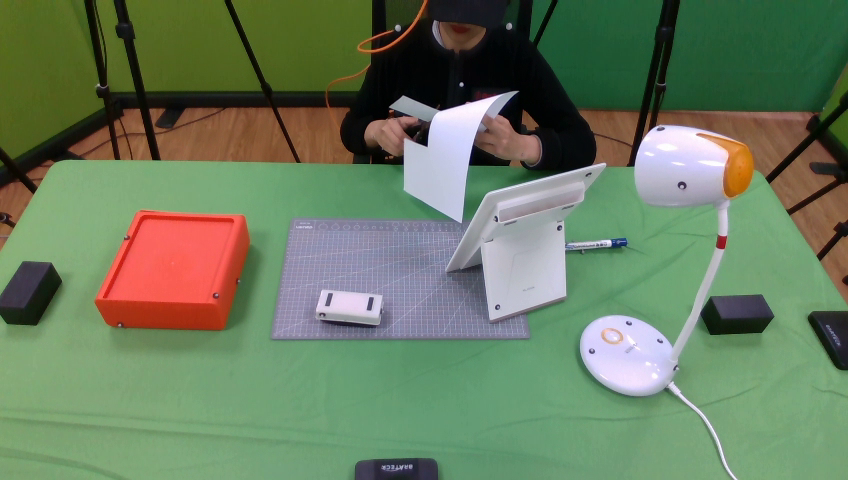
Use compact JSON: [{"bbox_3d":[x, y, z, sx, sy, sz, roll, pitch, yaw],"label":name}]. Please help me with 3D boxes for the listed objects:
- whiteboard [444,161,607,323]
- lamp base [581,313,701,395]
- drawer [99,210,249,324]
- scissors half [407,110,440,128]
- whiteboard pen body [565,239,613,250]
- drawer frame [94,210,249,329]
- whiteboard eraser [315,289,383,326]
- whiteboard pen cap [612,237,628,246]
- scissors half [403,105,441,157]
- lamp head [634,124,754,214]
[{"bbox_3d":[0.186,0.025,1.029,0.217,0.306,0.143,-14,68,-18],"label":"whiteboard"},{"bbox_3d":[0.361,0.144,0.972,0.178,0.181,0.160,34,53,23],"label":"lamp base"},{"bbox_3d":[-0.435,0.044,1.081,0.194,0.073,0.210,3,47,-2],"label":"drawer"},{"bbox_3d":[-0.001,-0.252,1.276,0.013,0.040,0.174,13,8,-24],"label":"scissors half"},{"bbox_3d":[0.331,0.008,1.211,0.141,0.017,0.017,-5,47,-4],"label":"whiteboard pen body"},{"bbox_3d":[-0.434,0.048,1.076,0.202,0.083,0.212,2,47,-3],"label":"drawer frame"},{"bbox_3d":[-0.130,0.119,1.054,0.113,0.042,0.055,6,47,1],"label":"whiteboard eraser"},{"bbox_3d":[0.390,0.004,1.215,0.033,0.018,0.018,-7,47,-2],"label":"whiteboard pen cap"},{"bbox_3d":[-0.004,-0.228,1.271,0.013,0.175,0.040,8,58,-25],"label":"scissors half"},{"bbox_3d":[0.351,-0.089,0.775,0.112,0.113,0.122,-30,30,-28],"label":"lamp head"}]
